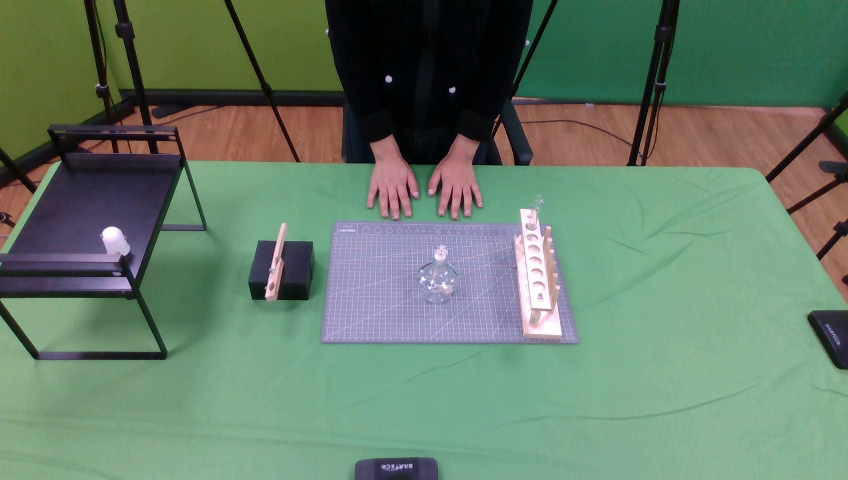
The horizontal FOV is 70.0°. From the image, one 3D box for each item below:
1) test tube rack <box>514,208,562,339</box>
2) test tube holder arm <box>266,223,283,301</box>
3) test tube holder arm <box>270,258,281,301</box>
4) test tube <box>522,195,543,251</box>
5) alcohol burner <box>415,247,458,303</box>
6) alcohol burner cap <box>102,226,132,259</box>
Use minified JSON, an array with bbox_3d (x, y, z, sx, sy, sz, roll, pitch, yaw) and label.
[{"bbox_3d":[0.212,0.056,1.113,0.067,0.085,0.241,3,46,-1],"label":"test tube rack"},{"bbox_3d":[-0.266,0.035,1.080,0.013,0.015,0.177,-5,46,-2],"label":"test tube holder arm"},{"bbox_3d":[-0.257,0.067,1.049,0.010,0.015,0.087,-4,46,-1],"label":"test tube holder arm"},{"bbox_3d":[0.200,-0.028,1.125,0.017,0.151,0.017,1,50,-1],"label":"test tube"},{"bbox_3d":[0.024,0.057,1.078,0.078,0.119,0.077,3,44,-3],"label":"alcohol burner"},{"bbox_3d":[-0.456,0.001,0.897,0.034,0.048,0.033,2,47,-2],"label":"alcohol burner cap"}]
